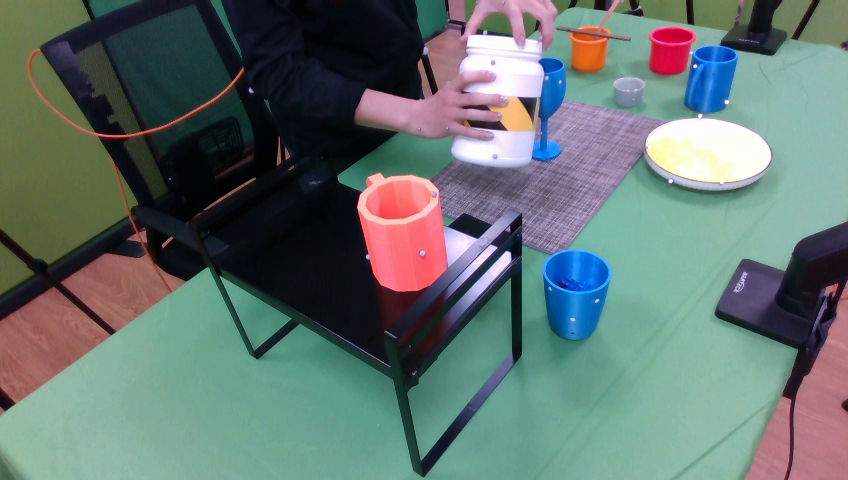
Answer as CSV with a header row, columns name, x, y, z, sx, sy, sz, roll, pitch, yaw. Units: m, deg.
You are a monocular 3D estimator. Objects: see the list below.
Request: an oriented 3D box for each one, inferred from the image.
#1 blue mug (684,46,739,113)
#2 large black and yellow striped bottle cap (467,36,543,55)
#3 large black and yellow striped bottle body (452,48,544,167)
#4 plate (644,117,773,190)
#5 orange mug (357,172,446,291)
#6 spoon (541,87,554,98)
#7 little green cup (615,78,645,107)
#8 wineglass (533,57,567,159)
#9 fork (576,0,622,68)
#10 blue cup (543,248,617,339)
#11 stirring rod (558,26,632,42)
name,x,y,z,sx,sy,sz,roll,pitch,yaw
blue mug,0.556,-0.310,1.190,0.117,0.106,0.081,-32,46,-25
large black and yellow striped bottle cap,0.123,-0.296,0.922,0.115,0.019,0.114,6,15,-1
large black and yellow striped bottle body,0.116,-0.216,0.948,0.131,0.184,0.130,5,17,-1
plate,0.495,-0.148,1.063,0.209,0.038,0.208,-5,40,4
orange mug,-0.030,-0.019,0.668,0.084,0.101,0.125,-23,47,-16
spoon,0.227,-0.285,1.269,0.041,0.022,0.194,1,36,45
little green cup,0.426,-0.306,1.257,0.061,0.039,0.061,-4,40,4
wineglass,0.221,-0.237,1.097,0.074,0.173,0.073,-4,41,4
fork,0.409,-0.484,1.381,0.028,0.019,0.207,37,101,45
blue cup,0.199,0.076,0.797,0.092,0.100,0.092,-4,39,4
stirring rod,0.381,-0.462,1.356,0.175,0.006,0.014,22,48,30
